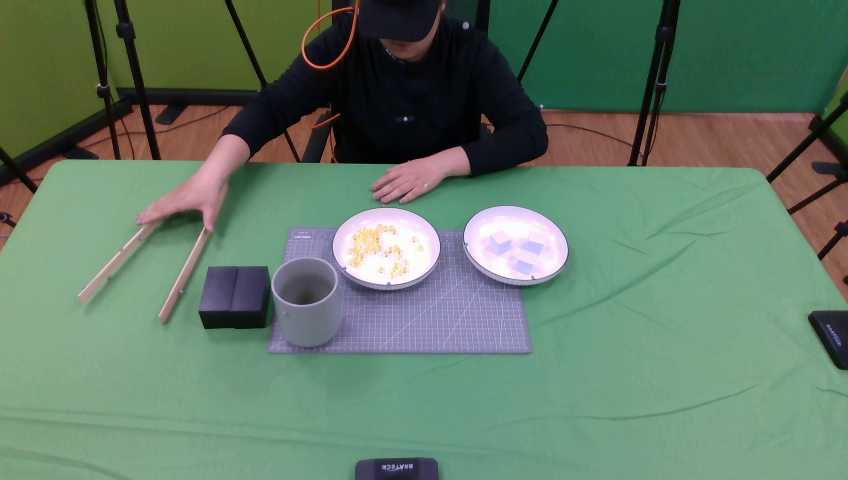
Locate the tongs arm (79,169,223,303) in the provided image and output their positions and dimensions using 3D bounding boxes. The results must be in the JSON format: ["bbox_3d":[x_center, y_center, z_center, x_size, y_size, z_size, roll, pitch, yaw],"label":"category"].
[{"bbox_3d":[-0.512,-0.020,1.169,0.050,0.026,0.383,16,46,9],"label":"tongs arm"}]

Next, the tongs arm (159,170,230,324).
[{"bbox_3d":[-0.433,-0.001,1.164,0.028,0.028,0.385,4,46,2],"label":"tongs arm"}]

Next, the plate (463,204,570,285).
[{"bbox_3d":[0.178,0.011,1.184,0.209,0.038,0.208,3,46,-3],"label":"plate"}]

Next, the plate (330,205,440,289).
[{"bbox_3d":[-0.074,0.017,1.160,0.208,0.039,0.206,2,46,-2],"label":"plate"}]

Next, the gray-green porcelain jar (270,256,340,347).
[{"bbox_3d":[-0.193,0.107,1.004,0.106,0.127,0.105,2,46,-2],"label":"gray-green porcelain jar"}]
